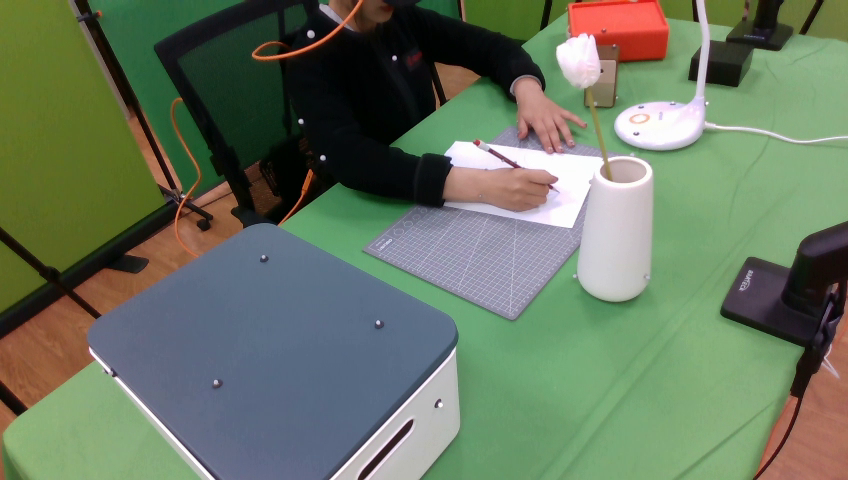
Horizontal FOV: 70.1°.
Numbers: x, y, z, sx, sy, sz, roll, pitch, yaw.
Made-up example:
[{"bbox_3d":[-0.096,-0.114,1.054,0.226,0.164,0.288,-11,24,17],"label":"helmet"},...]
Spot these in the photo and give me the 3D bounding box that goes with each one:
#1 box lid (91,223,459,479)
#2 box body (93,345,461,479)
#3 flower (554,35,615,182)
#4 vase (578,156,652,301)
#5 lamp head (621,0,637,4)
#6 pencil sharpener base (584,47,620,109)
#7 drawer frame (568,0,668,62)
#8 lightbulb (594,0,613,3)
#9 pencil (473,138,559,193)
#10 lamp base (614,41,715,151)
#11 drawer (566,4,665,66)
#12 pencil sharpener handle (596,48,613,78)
[{"bbox_3d":[-0.174,0.103,0.667,0.368,0.015,0.264,24,48,35],"label":"box lid"},{"bbox_3d":[-0.162,0.170,0.708,0.361,0.161,0.255,25,50,34],"label":"box body"},{"bbox_3d":[0.237,-0.083,0.774,0.044,0.363,0.038,-22,26,7],"label":"flower"},{"bbox_3d":[0.261,-0.011,0.812,0.098,0.201,0.097,-4,40,4],"label":"vase"},{"bbox_3d":[0.319,-0.453,0.962,0.113,0.123,0.112,20,33,-13],"label":"lamp head"},{"bbox_3d":[0.367,-0.336,1.249,0.061,0.107,0.076,6,42,19],"label":"pencil sharpener base"},{"bbox_3d":[0.450,-0.496,1.441,0.213,0.083,0.201,-1,40,9],"label":"drawer frame"},{"bbox_3d":[0.305,-0.437,0.978,0.060,0.107,0.059,12,43,-11],"label":"lightbulb"},{"bbox_3d":[0.157,-0.120,1.006,0.195,0.012,0.012,26,30,-27],"label":"pencil"},{"bbox_3d":[0.449,-0.277,1.106,0.179,0.181,0.160,1,41,9],"label":"lamp base"},{"bbox_3d":[0.447,-0.493,1.440,0.211,0.073,0.194,0,40,10],"label":"drawer"},{"bbox_3d":[0.382,-0.378,1.276,0.036,0.068,0.030,4,41,20],"label":"pencil sharpener handle"}]
